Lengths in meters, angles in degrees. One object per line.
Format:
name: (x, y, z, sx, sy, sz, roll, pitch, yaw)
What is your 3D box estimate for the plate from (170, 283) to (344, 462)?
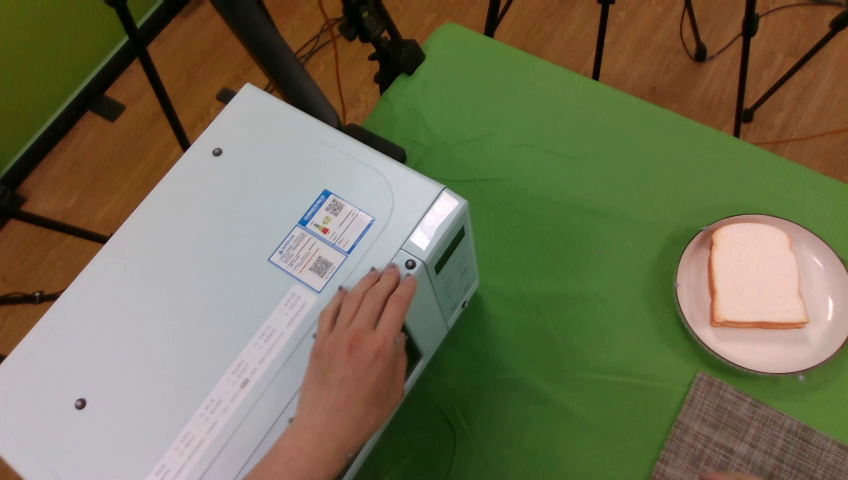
plate: (-0.195, 0.155, 0.723, 0.209, 0.038, 0.207, -2, 70, 5)

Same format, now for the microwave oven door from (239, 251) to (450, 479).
microwave oven door: (-0.095, 0.197, 0.633, 0.039, 0.246, 0.355, 29, 74, 20)

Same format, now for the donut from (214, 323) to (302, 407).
donut: (-0.191, 0.144, 0.700, 0.099, 0.048, 0.098, 2, 63, -4)

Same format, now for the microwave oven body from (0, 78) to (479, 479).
microwave oven body: (-0.190, 0.098, 0.695, 0.324, 0.262, 0.440, 30, 75, 18)

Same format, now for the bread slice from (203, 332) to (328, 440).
bread slice: (-0.198, 0.181, 0.741, 0.132, 0.019, 0.104, -25, 65, -31)

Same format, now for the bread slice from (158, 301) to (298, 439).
bread slice: (-0.210, 0.133, 0.675, 0.106, 0.018, 0.134, 40, 70, 11)

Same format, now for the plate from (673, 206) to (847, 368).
plate: (0.415, 0.059, 0.752, 0.207, 0.039, 0.206, -3, 67, 7)

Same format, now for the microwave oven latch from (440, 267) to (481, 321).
microwave oven latch: (0.042, 0.064, 0.782, 0.030, 0.030, 0.079, 34, 76, 19)
